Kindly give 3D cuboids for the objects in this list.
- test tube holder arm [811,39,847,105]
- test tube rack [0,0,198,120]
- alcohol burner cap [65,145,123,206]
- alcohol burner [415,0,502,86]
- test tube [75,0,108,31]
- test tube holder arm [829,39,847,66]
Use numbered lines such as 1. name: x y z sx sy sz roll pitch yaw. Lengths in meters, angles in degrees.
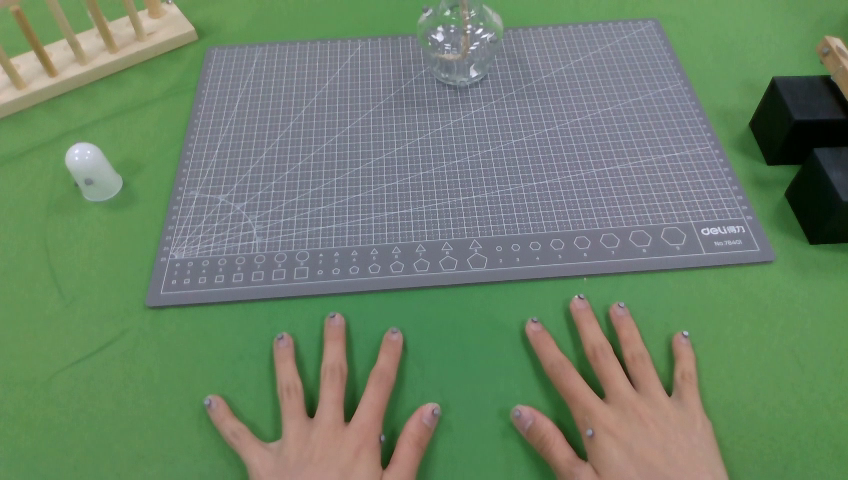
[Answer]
1. test tube holder arm: 0.324 -0.123 0.467 0.010 0.015 0.087 -4 55 -1
2. test tube rack: -0.347 -0.189 0.555 0.242 0.086 0.066 -30 58 -19
3. alcohol burner cap: -0.265 -0.054 0.481 0.034 0.048 0.033 -1 53 1
4. alcohol burner: 0.030 -0.195 0.526 0.078 0.120 0.077 0 54 0
5. test tube: -0.327 -0.255 0.537 0.017 0.152 0.017 -6 47 7
6. test tube holder arm: 0.333 -0.087 0.441 0.013 0.015 0.176 -5 55 -3
